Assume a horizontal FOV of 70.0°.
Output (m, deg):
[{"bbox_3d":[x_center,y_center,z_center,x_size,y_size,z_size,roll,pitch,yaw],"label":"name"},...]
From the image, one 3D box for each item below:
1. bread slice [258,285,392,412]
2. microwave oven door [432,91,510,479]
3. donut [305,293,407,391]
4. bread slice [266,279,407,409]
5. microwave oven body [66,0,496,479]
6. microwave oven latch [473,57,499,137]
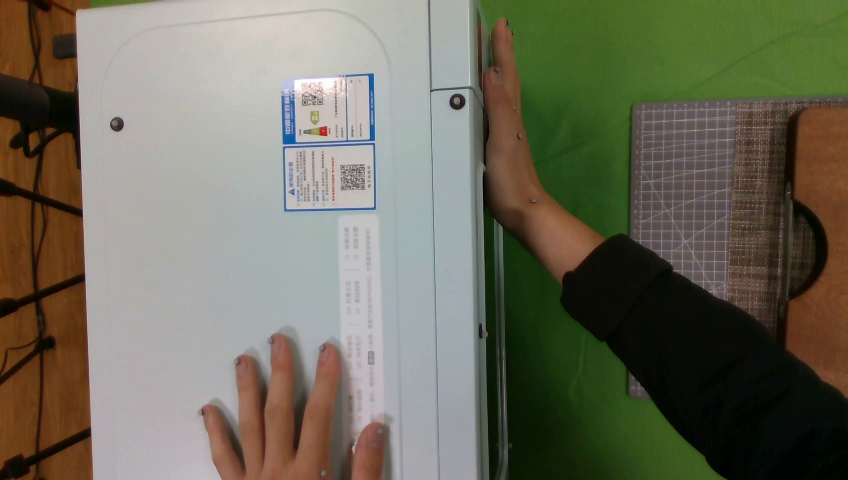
[{"bbox_3d":[-0.088,0.095,0.535,0.134,0.018,0.107,-5,92,24],"label":"bread slice"},{"bbox_3d":[0.043,0.076,0.518,0.039,0.244,0.355,-2,91,12],"label":"microwave oven door"},{"bbox_3d":[-0.065,0.096,0.577,0.099,0.048,0.099,0,107,2],"label":"donut"},{"bbox_3d":[-0.094,0.100,0.605,0.131,0.019,0.105,19,97,7],"label":"bread slice"},{"bbox_3d":[-0.101,0.037,0.550,0.325,0.260,0.441,-1,92,11],"label":"microwave oven body"},{"bbox_3d":[0.061,-0.144,0.611,0.030,0.029,0.079,-2,92,11],"label":"microwave oven latch"}]
